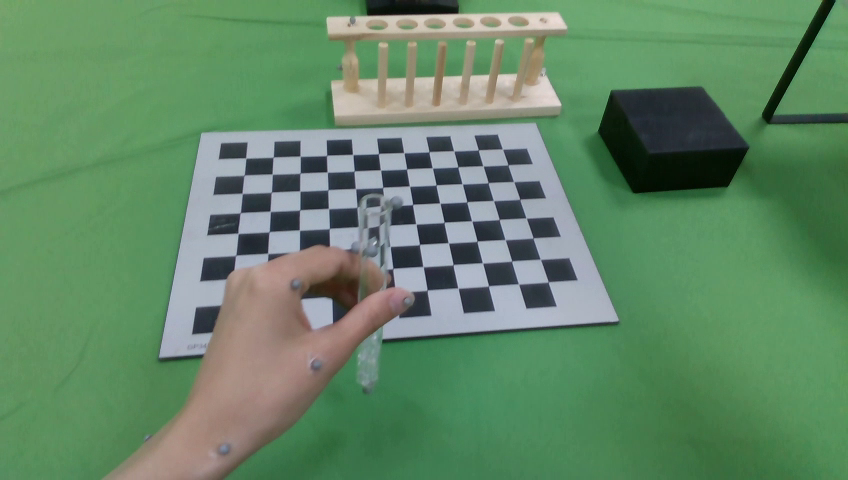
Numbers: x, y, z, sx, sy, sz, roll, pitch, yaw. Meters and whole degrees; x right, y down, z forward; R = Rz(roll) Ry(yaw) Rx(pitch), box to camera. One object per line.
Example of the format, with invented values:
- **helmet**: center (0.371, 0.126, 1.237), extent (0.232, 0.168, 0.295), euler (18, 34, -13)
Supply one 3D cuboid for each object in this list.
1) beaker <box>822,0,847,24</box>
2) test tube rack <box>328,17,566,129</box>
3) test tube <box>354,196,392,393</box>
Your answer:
- **beaker**: center (0.251, -0.165, 0.305), extent (0.083, 0.101, 0.073), euler (6, 46, 17)
- **test tube rack**: center (0.025, -0.176, 0.634), extent (0.243, 0.086, 0.066), euler (-4, 47, -9)
- **test tube**: center (-0.030, 0.038, 0.335), extent (0.017, 0.151, 0.017), euler (4, 42, -4)
